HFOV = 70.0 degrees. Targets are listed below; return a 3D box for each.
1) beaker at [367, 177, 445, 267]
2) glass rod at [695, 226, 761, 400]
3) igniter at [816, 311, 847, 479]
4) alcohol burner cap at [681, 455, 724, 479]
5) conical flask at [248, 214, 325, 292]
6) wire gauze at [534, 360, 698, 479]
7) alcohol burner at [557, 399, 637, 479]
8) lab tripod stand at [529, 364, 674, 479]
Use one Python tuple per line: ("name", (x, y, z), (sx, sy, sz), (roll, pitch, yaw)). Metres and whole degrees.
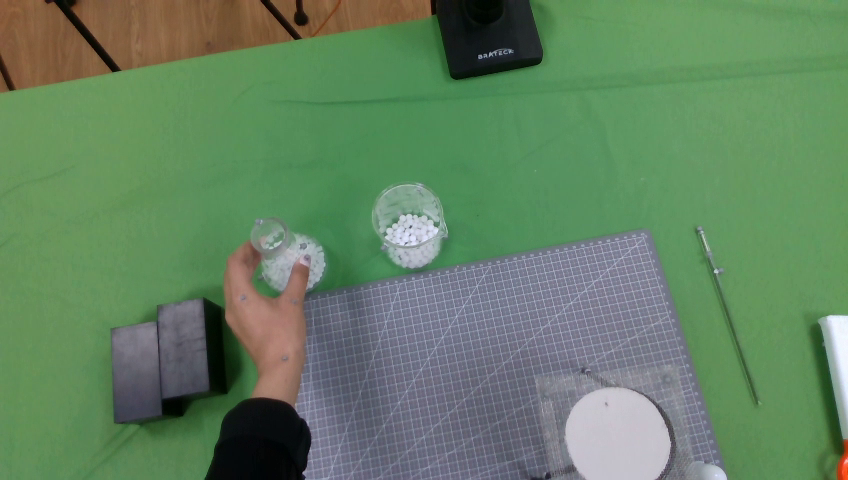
("beaker", (-0.015, -0.014, 0.665), (0.084, 0.101, 0.074), (24, 76, 9))
("glass rod", (0.335, 0.077, 0.670), (0.008, 0.008, 0.198), (-11, 73, -2))
("igniter", (0.442, 0.210, 0.618), (0.057, 0.025, 0.275), (3, 73, -8))
("alcohol burner cap", (0.281, 0.233, 0.606), (0.034, 0.048, 0.033), (-1, 73, 3))
("conical flask", (-0.151, 0.009, 0.643), (0.075, 0.122, 0.075), (0, 74, 0))
("wire gauze", (0.163, 0.167, 0.512), (0.125, 0.011, 0.121), (-6, 75, 2))
("alcohol burner", (0.170, 0.192, 0.585), (0.078, 0.120, 0.077), (-1, 73, 4))
("lab tripod stand", (0.168, 0.188, 0.576), (0.148, 0.132, 0.147), (-1, 75, 2))
